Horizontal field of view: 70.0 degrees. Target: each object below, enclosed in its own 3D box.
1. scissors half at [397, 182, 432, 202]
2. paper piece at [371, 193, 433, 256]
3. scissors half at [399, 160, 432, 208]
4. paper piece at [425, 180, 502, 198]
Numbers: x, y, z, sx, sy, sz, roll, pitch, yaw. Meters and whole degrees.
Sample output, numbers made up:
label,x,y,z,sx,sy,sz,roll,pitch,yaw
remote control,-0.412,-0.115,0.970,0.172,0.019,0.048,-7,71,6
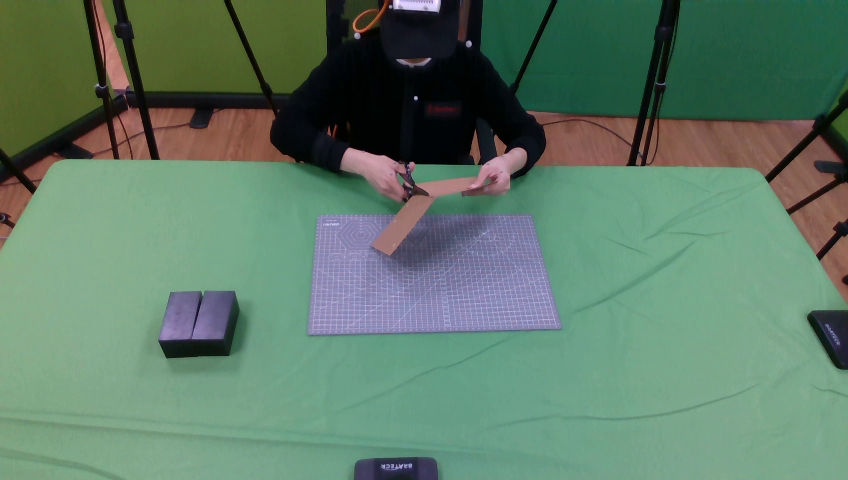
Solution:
label,x,y,z,sx,sy,sz,roll,pitch,yaw
scissors half,-0.018,-0.090,1.197,0.013,0.040,0.174,-10,12,-21
paper piece,-0.043,-0.033,1.135,0.009,0.135,0.138,39,84,-16
scissors half,-0.016,-0.110,1.188,0.013,0.040,0.174,-5,38,-23
paper piece,0.062,-0.098,1.163,0.136,0.004,0.135,-14,11,-16
